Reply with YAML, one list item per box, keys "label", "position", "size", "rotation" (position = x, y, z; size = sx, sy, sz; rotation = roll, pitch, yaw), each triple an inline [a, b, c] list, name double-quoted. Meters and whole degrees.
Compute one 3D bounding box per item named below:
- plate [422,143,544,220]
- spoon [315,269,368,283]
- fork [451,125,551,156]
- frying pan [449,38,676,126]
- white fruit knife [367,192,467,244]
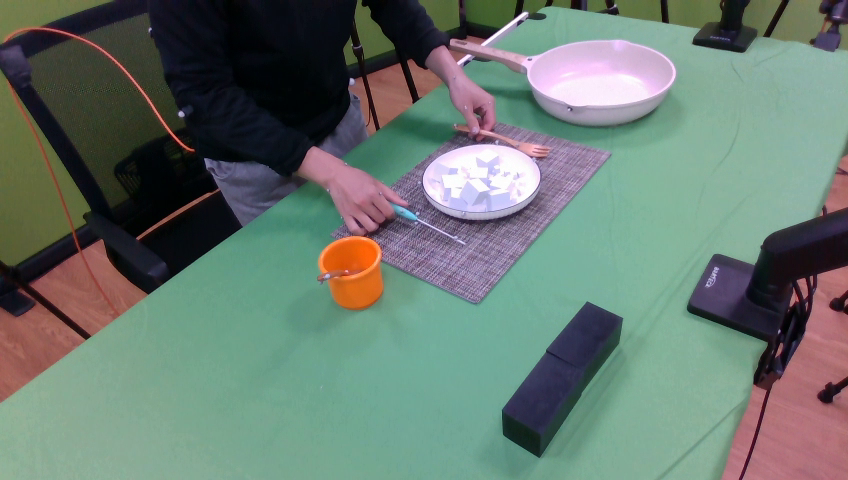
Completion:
- label: "plate"
  position: [0.102, -0.097, 1.049]
  size: [0.207, 0.039, 0.206]
  rotation: [-4, 40, 4]
- label: "spoon"
  position: [-0.116, 0.049, 0.831]
  size: [0.041, 0.194, 0.021]
  rotation: [-4, 85, 9]
- label: "fork"
  position: [0.143, -0.193, 1.158]
  size: [0.206, 0.019, 0.028]
  rotation: [22, 42, 20]
- label: "frying pan"
  position: [0.272, -0.362, 1.287]
  size: [0.485, 0.103, 0.307]
  rotation: [23, 48, 19]
- label: "white fruit knife"
  position: [-0.015, -0.037, 0.996]
  size: [0.206, 0.027, 0.016]
  rotation: [26, 86, 25]
